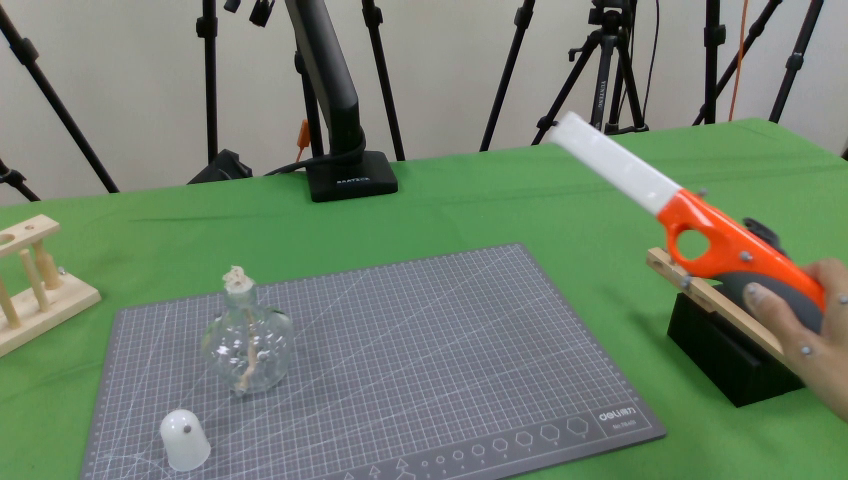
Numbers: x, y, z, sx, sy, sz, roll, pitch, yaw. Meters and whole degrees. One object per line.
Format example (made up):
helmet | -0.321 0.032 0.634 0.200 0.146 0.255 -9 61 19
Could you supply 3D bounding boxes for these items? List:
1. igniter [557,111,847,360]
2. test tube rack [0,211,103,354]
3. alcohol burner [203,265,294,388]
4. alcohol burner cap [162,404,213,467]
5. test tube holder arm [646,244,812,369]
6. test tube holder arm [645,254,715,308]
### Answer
igniter | 0.194 -0.020 0.452 0.025 0.057 0.273 25 20 -46
test tube rack | -0.434 0.069 0.549 0.066 0.086 0.242 21 39 28
alcohol burner | -0.151 0.069 0.517 0.078 0.120 0.077 1 35 0
alcohol burner cap | -0.183 0.147 0.465 0.034 0.048 0.033 1 33 0
test tube holder arm | 0.260 0.052 0.536 0.015 0.013 0.176 -19 35 -15
test tube holder arm | 0.244 0.036 0.574 0.015 0.010 0.087 -18 35 -15
